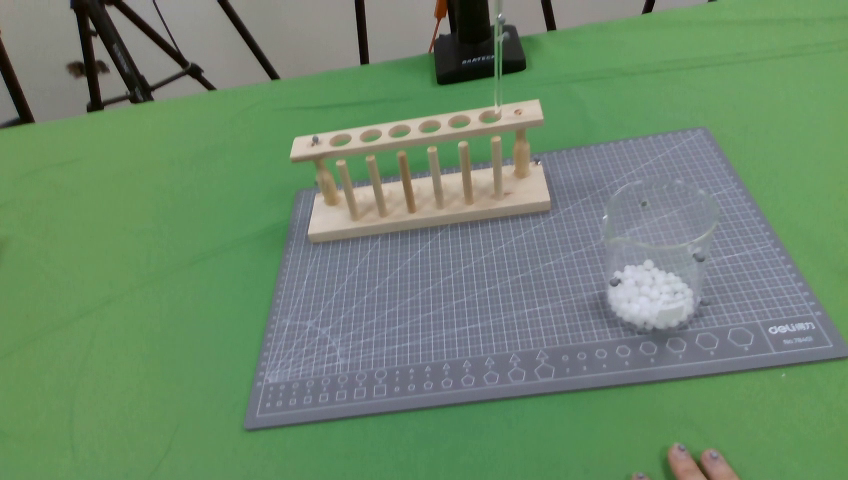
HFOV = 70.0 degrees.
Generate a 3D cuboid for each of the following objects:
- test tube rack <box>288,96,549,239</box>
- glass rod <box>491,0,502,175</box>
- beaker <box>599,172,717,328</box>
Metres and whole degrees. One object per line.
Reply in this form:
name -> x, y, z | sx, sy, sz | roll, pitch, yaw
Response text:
test tube rack -> -0.005, -0.069, 0.596 | 0.242, 0.086, 0.066 | -8, 43, 6
glass rod -> 0.067, -0.137, 0.551 | 0.008, 0.202, 0.008 | -4, 44, 4
beaker -> 0.170, 0.012, 0.456 | 0.084, 0.101, 0.073 | -21, 43, -7
